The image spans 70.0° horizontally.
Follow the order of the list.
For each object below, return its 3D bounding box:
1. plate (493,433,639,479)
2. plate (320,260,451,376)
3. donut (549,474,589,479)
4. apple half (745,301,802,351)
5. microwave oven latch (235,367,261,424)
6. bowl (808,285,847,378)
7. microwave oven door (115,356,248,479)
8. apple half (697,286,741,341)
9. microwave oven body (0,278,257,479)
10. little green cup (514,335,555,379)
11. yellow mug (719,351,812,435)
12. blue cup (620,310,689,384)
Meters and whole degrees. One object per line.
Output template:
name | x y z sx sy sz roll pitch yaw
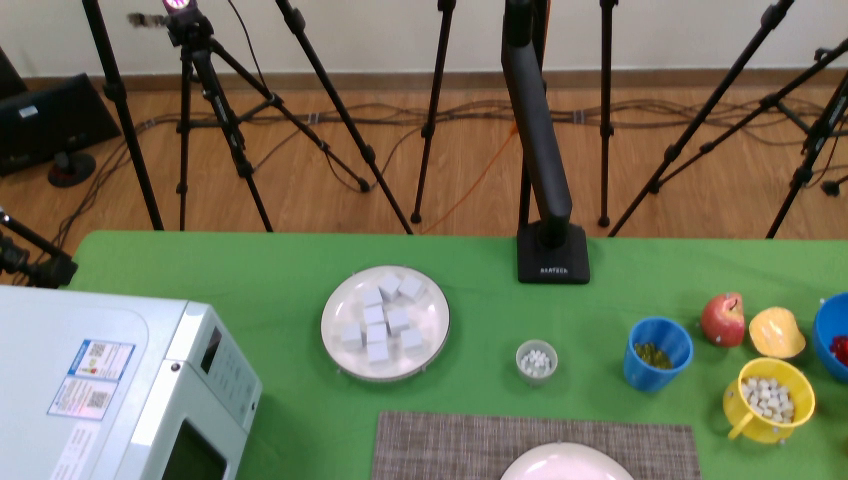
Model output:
plate | 0.185 0.357 0.781 0.209 0.038 0.207 -2 54 3
plate | -0.061 0.126 0.973 0.207 0.039 0.205 -2 53 3
donut | 0.189 0.350 0.772 0.099 0.049 0.098 -3 54 4
apple half | 0.529 0.136 0.927 0.081 0.033 0.080 -4 67 11
microwave oven latch | -0.264 0.227 0.890 0.030 0.030 0.078 7 55 8
bowl | 0.631 0.149 0.882 0.151 0.077 0.150 -2 54 3
microwave oven door | -0.299 0.341 0.680 0.039 0.246 0.352 4 54 7
apple half | 0.446 0.113 0.926 0.053 0.075 0.080 3 58 12
microwave oven body | -0.438 0.301 0.726 0.325 0.262 0.438 4 55 6
little green cup | 0.167 0.180 0.917 0.061 0.039 0.061 -2 53 3
yellow mug | 0.465 0.223 0.847 0.131 0.064 0.099 -34 59 -18
blue cup | 0.326 0.163 0.879 0.092 0.101 0.092 -2 56 3
